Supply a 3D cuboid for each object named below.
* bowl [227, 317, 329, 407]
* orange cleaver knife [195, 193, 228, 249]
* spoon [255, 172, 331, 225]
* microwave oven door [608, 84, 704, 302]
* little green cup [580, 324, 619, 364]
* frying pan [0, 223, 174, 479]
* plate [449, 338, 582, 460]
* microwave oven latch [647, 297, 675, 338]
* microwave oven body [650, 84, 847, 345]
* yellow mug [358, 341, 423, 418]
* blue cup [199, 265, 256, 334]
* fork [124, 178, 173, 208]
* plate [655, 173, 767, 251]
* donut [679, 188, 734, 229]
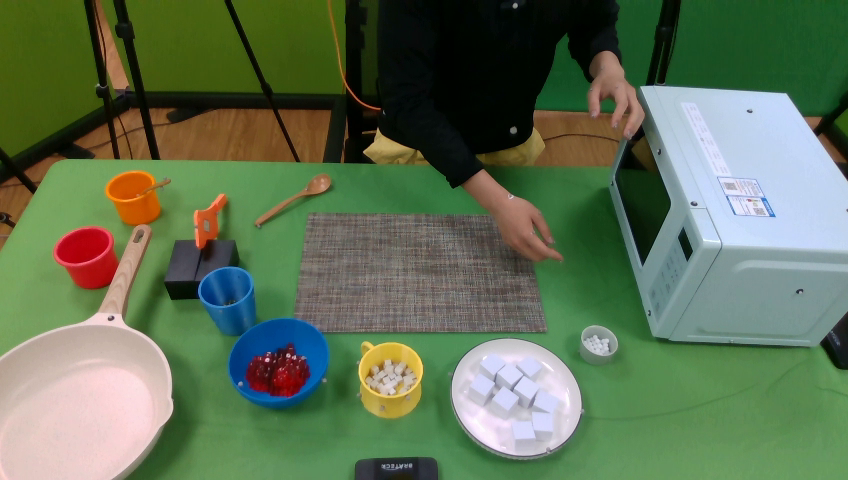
[{"bbox_3d":[-0.222,0.203,0.947,0.151,0.077,0.150,2,46,-2],"label":"bowl"},{"bbox_3d":[-0.406,-0.041,1.163,0.012,0.077,0.210,-1,18,-4],"label":"orange cleaver knife"},{"bbox_3d":[-0.272,-0.087,1.257,0.041,0.022,0.193,43,57,17],"label":"spoon"},{"bbox_3d":[0.425,-0.096,1.138,0.039,0.245,0.353,2,46,-1],"label":"microwave oven door"},{"bbox_3d":[0.296,0.179,1.031,0.061,0.039,0.061,2,45,-2],"label":"little green cup"},{"bbox_3d":[-0.505,0.169,0.941,0.307,0.103,0.485,5,54,-1],"label":"frying pan"},{"bbox_3d":[0.141,0.251,0.956,0.208,0.039,0.206,2,46,-2],"label":"plate"},{"bbox_3d":[0.413,0.133,1.060,0.030,0.029,0.078,5,46,2],"label":"microwave oven latch"},{"bbox_3d":[0.569,-0.054,1.116,0.326,0.261,0.439,2,46,-1],"label":"microwave oven body"},{"bbox_3d":[-0.063,0.210,0.961,0.100,0.064,0.130,-29,54,-28],"label":"yellow mug"},{"bbox_3d":[-0.321,0.106,1.014,0.093,0.101,0.092,2,48,-2],"label":"blue cup"},{"bbox_3d":[-0.525,-0.090,1.154,0.207,0.019,0.028,-17,27,45],"label":"fork"},{"bbox_3d":[0.556,-0.052,1.187,0.209,0.038,0.208,2,46,-2],"label":"plate"},{"bbox_3d":[0.546,-0.062,1.175,0.099,0.048,0.098,0,44,0],"label":"donut"}]
